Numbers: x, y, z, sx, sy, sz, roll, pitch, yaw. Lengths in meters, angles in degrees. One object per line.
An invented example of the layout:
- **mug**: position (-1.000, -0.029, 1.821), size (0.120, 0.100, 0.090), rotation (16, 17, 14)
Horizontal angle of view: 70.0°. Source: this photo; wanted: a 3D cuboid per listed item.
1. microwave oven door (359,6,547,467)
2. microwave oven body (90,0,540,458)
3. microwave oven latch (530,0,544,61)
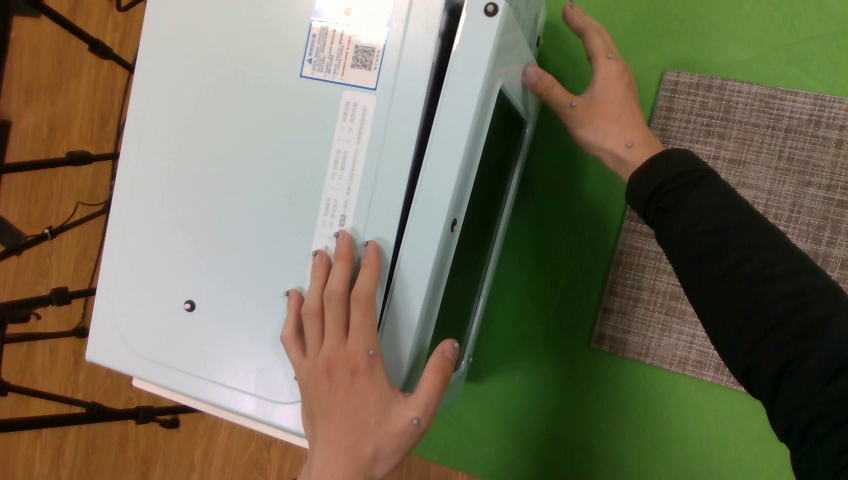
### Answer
- **microwave oven door**: position (0.037, 0.002, 0.560), size (0.039, 0.245, 0.356), rotation (16, 95, 18)
- **microwave oven body**: position (-0.097, -0.071, 0.607), size (0.324, 0.261, 0.442), rotation (13, 95, 17)
- **microwave oven latch**: position (0.105, -0.214, 0.641), size (0.030, 0.029, 0.079), rotation (16, 96, 17)
